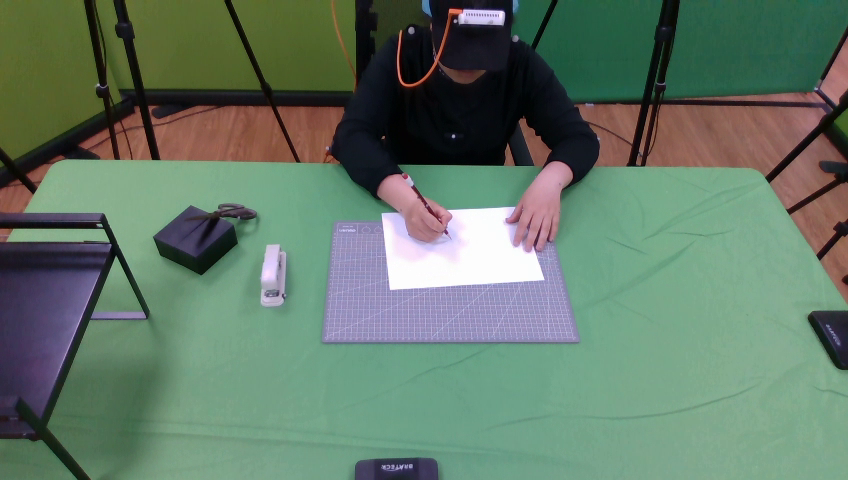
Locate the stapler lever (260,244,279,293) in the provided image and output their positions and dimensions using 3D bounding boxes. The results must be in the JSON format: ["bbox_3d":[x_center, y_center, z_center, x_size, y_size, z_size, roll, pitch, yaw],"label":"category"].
[{"bbox_3d":[-0.278,0.045,1.096,0.027,0.040,0.117,-2,44,-9],"label":"stapler lever"}]

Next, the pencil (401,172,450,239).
[{"bbox_3d":[0.007,-0.061,1.149,0.012,0.195,0.012,-20,43,20],"label":"pencil"}]

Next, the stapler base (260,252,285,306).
[{"bbox_3d":[-0.279,0.064,1.113,0.041,0.024,0.129,-1,44,-9],"label":"stapler base"}]

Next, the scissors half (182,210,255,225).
[{"bbox_3d":[-0.389,-0.042,1.158,0.040,0.013,0.175,42,22,21],"label":"scissors half"}]

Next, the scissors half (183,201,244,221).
[{"bbox_3d":[-0.405,-0.054,1.163,0.040,0.013,0.175,30,18,7],"label":"scissors half"}]
